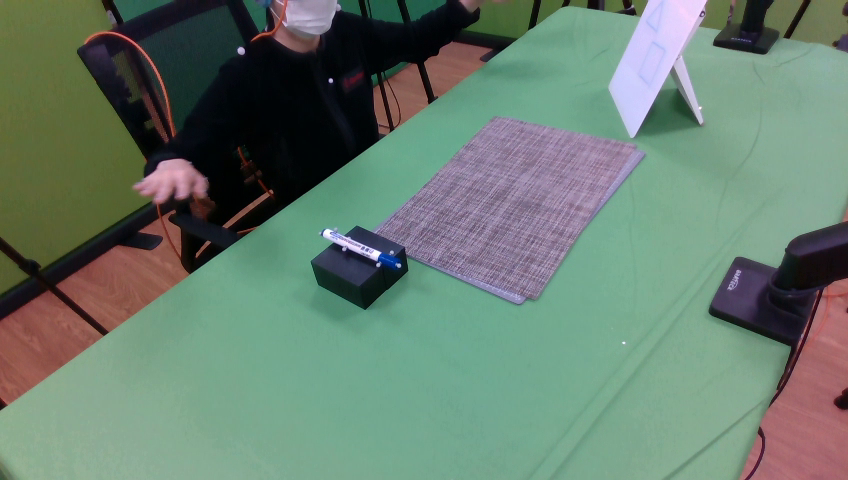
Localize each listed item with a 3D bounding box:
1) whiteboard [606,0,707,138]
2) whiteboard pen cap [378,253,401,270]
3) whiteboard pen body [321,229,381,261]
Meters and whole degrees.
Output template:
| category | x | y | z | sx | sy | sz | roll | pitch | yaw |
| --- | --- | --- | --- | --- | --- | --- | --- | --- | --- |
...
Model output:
| category | x | y | z | sx | sy | sz | roll | pitch | yaw |
| --- | --- | --- | --- | --- | --- | --- | --- | --- | --- |
| whiteboard | 0.496 | -0.359 | 1.147 | 0.144 | 0.305 | 0.216 | 11 | 40 | -7 |
| whiteboard pen cap | -0.051 | 0.030 | 0.870 | 0.033 | 0.018 | 0.018 | 21 | 48 | 28 |
| whiteboard pen body | -0.100 | 0.010 | 0.901 | 0.139 | 0.017 | 0.017 | 22 | 48 | 30 |
